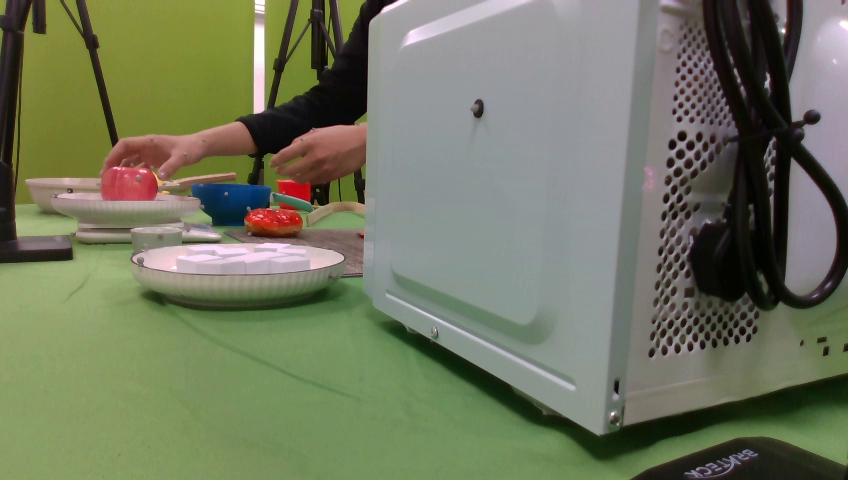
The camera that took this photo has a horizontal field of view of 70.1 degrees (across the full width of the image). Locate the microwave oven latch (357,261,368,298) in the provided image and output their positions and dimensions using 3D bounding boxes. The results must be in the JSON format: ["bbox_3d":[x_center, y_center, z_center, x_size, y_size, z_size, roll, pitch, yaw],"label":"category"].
[{"bbox_3d":[-0.019,0.033,0.530,0.079,0.029,0.030,-1,7,-26],"label":"microwave oven latch"}]

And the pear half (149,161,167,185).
[{"bbox_3d":[-0.602,-0.120,1.354,0.056,0.110,0.076,4,11,6],"label":"pear half"}]

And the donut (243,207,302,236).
[{"bbox_3d":[-0.261,-0.032,1.044,0.099,0.048,0.099,5,10,-1],"label":"donut"}]

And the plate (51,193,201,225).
[{"bbox_3d":[-0.460,-0.050,0.945,0.209,0.038,0.209,2,7,0],"label":"plate"}]

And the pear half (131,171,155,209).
[{"bbox_3d":[-0.638,-0.113,1.361,0.031,0.088,0.070,5,10,4],"label":"pear half"}]

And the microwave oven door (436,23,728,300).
[{"bbox_3d":[0.180,-0.073,0.621,0.358,0.243,0.039,-2,9,-29],"label":"microwave oven door"}]

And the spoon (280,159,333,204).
[{"bbox_3d":[-0.316,-0.159,1.640,0.194,0.022,0.041,-49,32,-20],"label":"spoon"}]

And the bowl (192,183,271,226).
[{"bbox_3d":[-0.382,-0.070,1.202,0.151,0.077,0.151,3,7,0],"label":"bowl"}]

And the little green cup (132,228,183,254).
[{"bbox_3d":[-0.342,0.006,0.779,0.061,0.038,0.061,2,8,0],"label":"little green cup"}]

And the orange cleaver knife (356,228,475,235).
[{"bbox_3d":[-0.016,-0.015,1.080,0.211,0.012,0.077,0,1,-2],"label":"orange cleaver knife"}]

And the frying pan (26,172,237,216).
[{"bbox_3d":[-0.624,-0.118,1.387,0.305,0.102,0.490,8,17,32],"label":"frying pan"}]

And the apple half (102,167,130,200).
[{"bbox_3d":[-0.471,-0.077,0.949,0.053,0.074,0.081,1,9,15],"label":"apple half"}]

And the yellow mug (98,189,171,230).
[{"bbox_3d":[-0.519,-0.055,1.080,0.099,0.064,0.131,7,10,26],"label":"yellow mug"}]

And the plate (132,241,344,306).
[{"bbox_3d":[-0.187,0.033,0.625,0.208,0.039,0.207,2,7,0],"label":"plate"}]

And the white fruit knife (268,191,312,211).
[{"bbox_3d":[-0.364,-0.105,1.464,0.208,0.027,0.016,15,0,-34],"label":"white fruit knife"}]

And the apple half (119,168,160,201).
[{"bbox_3d":[-0.434,-0.076,0.939,0.033,0.081,0.081,1,7,15],"label":"apple half"}]

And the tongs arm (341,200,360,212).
[{"bbox_3d":[-0.149,-0.070,1.429,0.051,0.026,0.383,-4,8,-14],"label":"tongs arm"}]

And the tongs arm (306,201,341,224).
[{"bbox_3d":[-0.234,-0.068,1.414,0.028,0.028,0.387,-5,7,1],"label":"tongs arm"}]

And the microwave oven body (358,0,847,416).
[{"bbox_3d":[0.211,-0.047,0.474,0.444,0.260,0.324,-1,7,-28],"label":"microwave oven body"}]

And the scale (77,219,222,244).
[{"bbox_3d":[-0.435,-0.018,0.963,0.202,0.031,0.148,-1,8,-27],"label":"scale"}]

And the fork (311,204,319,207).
[{"bbox_3d":[-0.356,-0.105,1.526,0.208,0.018,0.028,16,-5,-41],"label":"fork"}]
